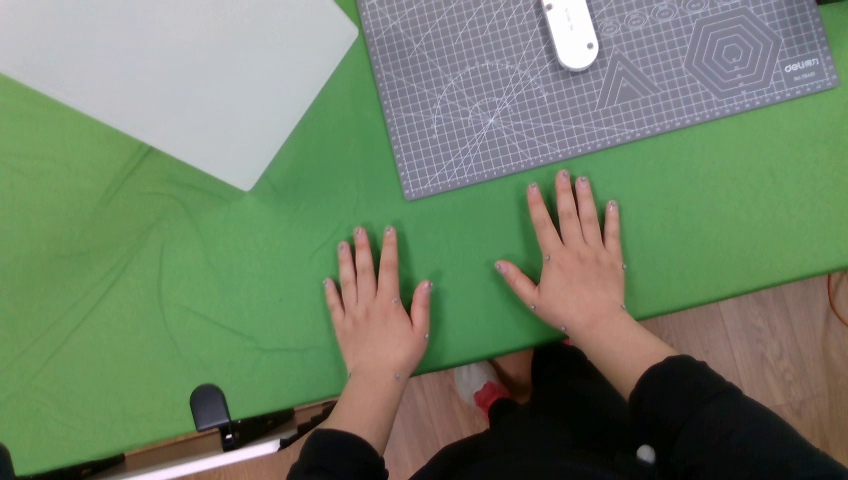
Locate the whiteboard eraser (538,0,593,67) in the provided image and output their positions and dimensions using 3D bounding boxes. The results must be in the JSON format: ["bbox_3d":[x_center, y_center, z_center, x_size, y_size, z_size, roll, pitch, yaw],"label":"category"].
[{"bbox_3d":[0.144,-0.230,0.624,0.041,0.019,0.101,-16,87,6],"label":"whiteboard eraser"}]

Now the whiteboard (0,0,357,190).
[{"bbox_3d":[-0.242,-0.215,0.562,0.142,0.308,0.217,38,94,27],"label":"whiteboard"}]
